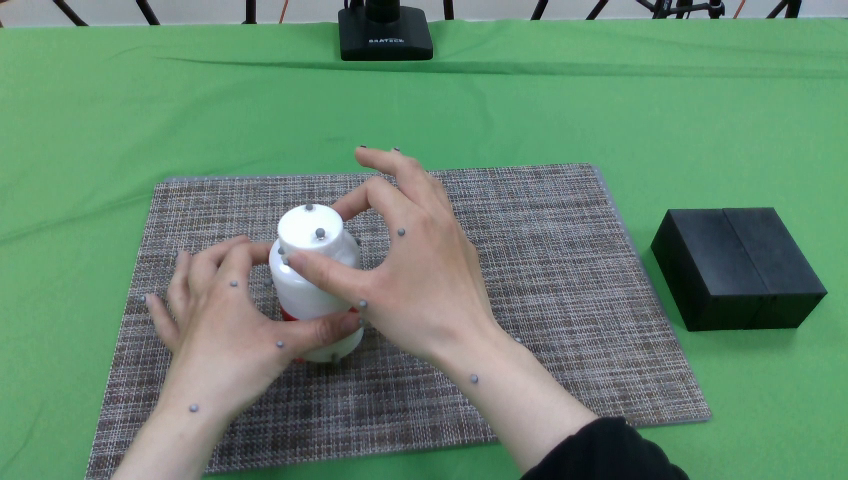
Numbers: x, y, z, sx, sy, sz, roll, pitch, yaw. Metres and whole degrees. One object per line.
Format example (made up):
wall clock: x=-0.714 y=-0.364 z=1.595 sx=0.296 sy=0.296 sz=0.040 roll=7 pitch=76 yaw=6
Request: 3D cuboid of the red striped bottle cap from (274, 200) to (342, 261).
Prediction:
red striped bottle cap: x=-0.078 y=-0.007 z=0.408 sx=0.044 sy=0.018 sz=0.044 roll=3 pitch=46 yaw=-3

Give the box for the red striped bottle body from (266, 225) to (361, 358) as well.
red striped bottle body: x=-0.080 y=0.030 z=0.449 sx=0.063 sy=0.121 sz=0.062 roll=2 pitch=48 yaw=-1
